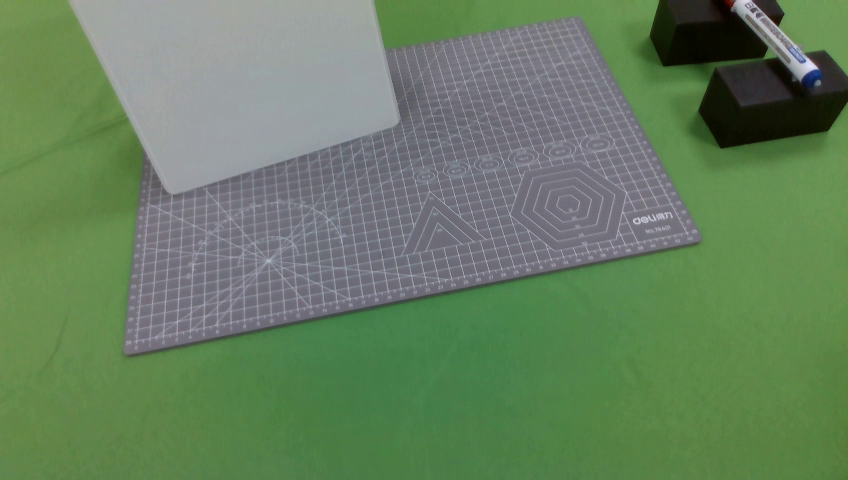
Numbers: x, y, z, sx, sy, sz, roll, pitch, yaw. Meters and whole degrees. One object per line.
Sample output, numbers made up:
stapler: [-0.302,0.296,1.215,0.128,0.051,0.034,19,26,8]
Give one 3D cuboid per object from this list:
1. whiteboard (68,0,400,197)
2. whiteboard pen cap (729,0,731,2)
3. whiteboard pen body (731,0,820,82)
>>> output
whiteboard: [-0.169,-0.229,0.505,0.217,0.308,0.142,-19,37,-8]
whiteboard pen cap: [0.281,-0.231,0.557,0.017,0.017,0.032,-16,55,-7]
whiteboard pen body: [0.295,-0.186,0.524,0.017,0.017,0.139,-14,57,-5]
